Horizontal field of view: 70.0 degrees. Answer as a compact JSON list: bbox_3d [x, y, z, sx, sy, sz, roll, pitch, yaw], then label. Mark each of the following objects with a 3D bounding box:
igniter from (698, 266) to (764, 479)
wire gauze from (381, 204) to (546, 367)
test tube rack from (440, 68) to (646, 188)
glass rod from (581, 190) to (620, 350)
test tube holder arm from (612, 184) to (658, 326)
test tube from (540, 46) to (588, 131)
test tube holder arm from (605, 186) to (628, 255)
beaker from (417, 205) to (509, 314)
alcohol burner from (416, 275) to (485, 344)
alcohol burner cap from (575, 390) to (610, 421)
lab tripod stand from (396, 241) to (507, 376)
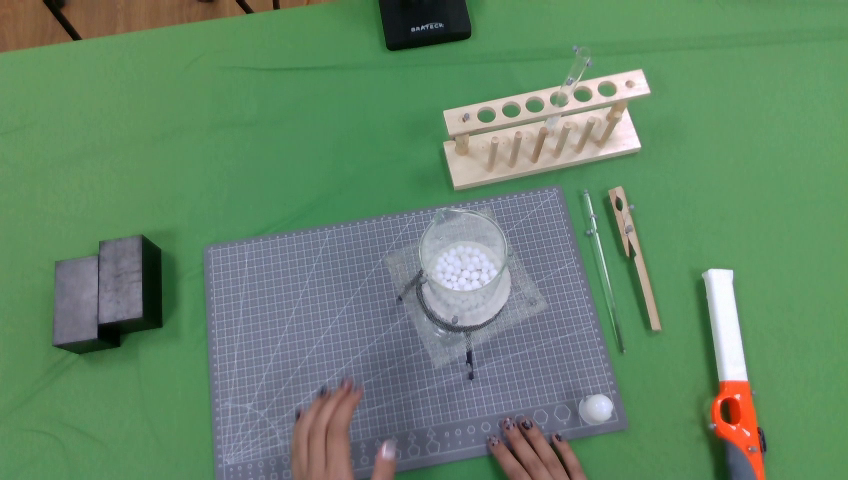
[{"bbox_3d":[0.335,0.162,0.665,0.057,0.025,0.274,4,70,-8],"label":"igniter"},{"bbox_3d":[0.036,0.039,0.586,0.121,0.011,0.124,-26,73,-4],"label":"wire gauze"},{"bbox_3d":[0.145,-0.136,0.745,0.242,0.086,0.066,-12,70,-3],"label":"test tube rack"},{"bbox_3d":[0.211,0.032,0.724,0.008,0.008,0.198,-7,73,-1],"label":"glass rod"},{"bbox_3d":[0.250,0.016,0.722,0.013,0.015,0.177,-21,69,28],"label":"test tube holder arm"},{"bbox_3d":[0.159,-0.171,0.705,0.017,0.151,0.017,2,68,-4],"label":"test tube"},{"bbox_3d":[0.238,-0.024,0.739,0.010,0.015,0.087,-21,69,28],"label":"test tube holder arm"},{"bbox_3d":[0.032,0.021,0.542,0.074,0.101,0.083,-25,71,-5],"label":"beaker"},{"bbox_3d":[0.028,0.071,0.656,0.078,0.120,0.077,-1,68,2],"label":"alcohol burner"},{"bbox_3d":[0.184,0.176,0.652,0.034,0.048,0.033,0,70,1],"label":"alcohol burner cap"},{"bbox_3d":[0.033,0.065,0.647,0.148,0.132,0.147,-1,71,3],"label":"lab tripod stand"}]
